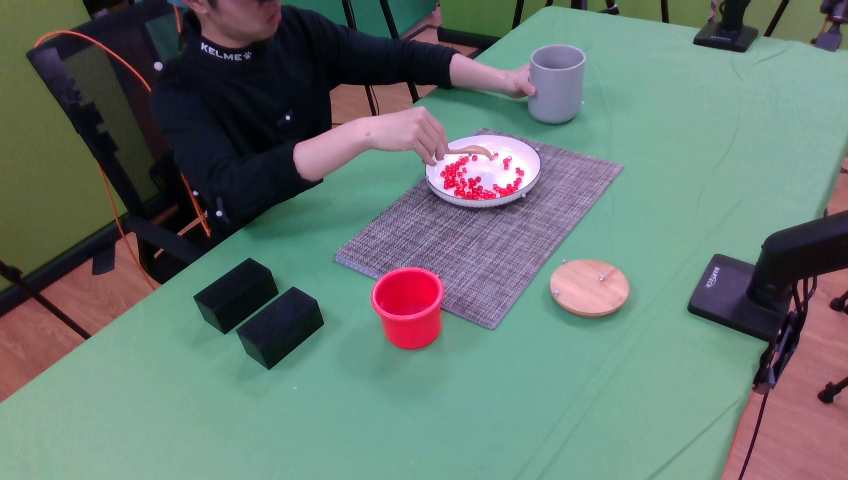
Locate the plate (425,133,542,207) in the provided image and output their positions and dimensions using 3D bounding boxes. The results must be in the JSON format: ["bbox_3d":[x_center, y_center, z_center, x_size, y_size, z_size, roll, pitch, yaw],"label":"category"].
[{"bbox_3d":[0.106,-0.122,1.079,0.207,0.039,0.206,-4,41,4],"label":"plate"}]

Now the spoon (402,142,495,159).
[{"bbox_3d":[0.045,-0.151,1.025,0.195,0.021,0.041,-3,15,-37],"label":"spoon"}]

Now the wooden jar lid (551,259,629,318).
[{"bbox_3d":[0.234,0.070,0.857,0.108,0.021,0.108,-5,40,5],"label":"wooden jar lid"}]

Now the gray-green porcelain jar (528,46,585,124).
[{"bbox_3d":[0.261,-0.304,1.204,0.106,0.127,0.105,-3,43,3],"label":"gray-green porcelain jar"}]
